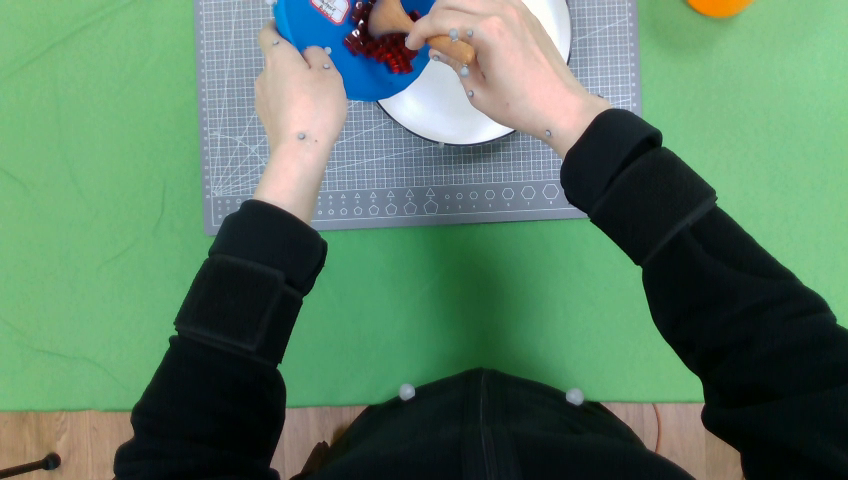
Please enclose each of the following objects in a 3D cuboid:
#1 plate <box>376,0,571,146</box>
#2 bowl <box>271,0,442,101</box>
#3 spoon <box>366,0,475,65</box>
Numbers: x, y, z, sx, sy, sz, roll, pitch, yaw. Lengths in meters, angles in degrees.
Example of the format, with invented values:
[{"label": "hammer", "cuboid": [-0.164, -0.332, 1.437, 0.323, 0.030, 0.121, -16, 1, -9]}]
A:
[{"label": "plate", "cuboid": [0.038, -0.196, 0.597, 0.209, 0.038, 0.209, 0, 90, 3]}, {"label": "bowl", "cuboid": [-0.067, -0.196, 0.505, 0.076, 0.153, 0.151, 25, 92, 47]}, {"label": "spoon", "cuboid": [-0.006, -0.159, 0.458, 0.022, 0.191, 0.042, 21, 106, -37]}]
